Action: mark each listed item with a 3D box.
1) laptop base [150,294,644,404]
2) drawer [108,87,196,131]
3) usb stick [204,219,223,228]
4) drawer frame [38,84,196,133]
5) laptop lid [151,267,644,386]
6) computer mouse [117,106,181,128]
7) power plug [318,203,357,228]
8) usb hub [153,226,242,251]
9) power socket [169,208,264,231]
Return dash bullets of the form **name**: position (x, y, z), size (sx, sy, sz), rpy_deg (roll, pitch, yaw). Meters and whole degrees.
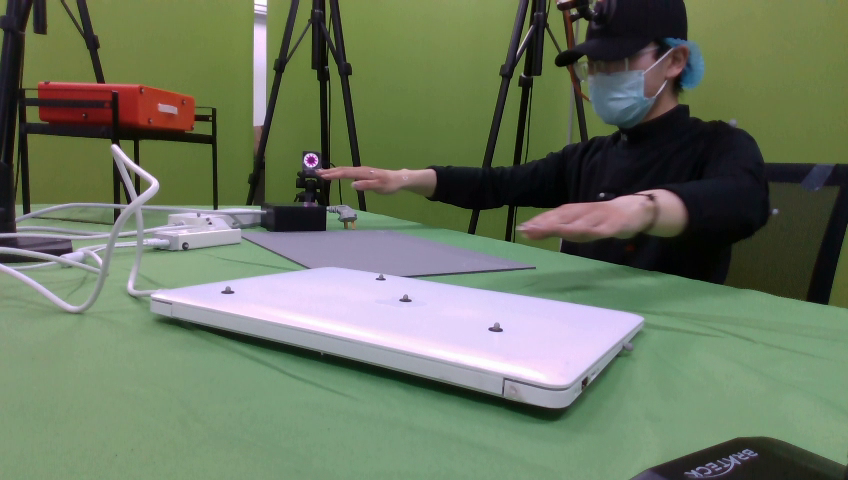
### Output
- **laptop base**: position (-0.019, 0.066, 0.506), size (0.353, 0.023, 0.236), rpy_deg (6, 5, 30)
- **drawer**: position (-0.609, -0.264, 1.229), size (0.211, 0.073, 0.194), rpy_deg (3, 8, 9)
- **usb stick**: position (-0.346, -0.018, 1.011), size (0.021, 0.027, 0.059), rpy_deg (-43, -1, -8)
- **drawer frame**: position (-0.612, -0.265, 1.229), size (0.213, 0.082, 0.202), rpy_deg (3, 8, 7)
- **laptop lid**: position (-0.018, 0.054, 0.507), size (0.355, 0.013, 0.243), rpy_deg (7, 6, 31)
- **computer mouse**: position (-0.565, -0.252, 1.242), size (0.062, 0.041, 0.118), rpy_deg (18, 26, 42)
- **power plug**: position (-0.169, -0.045, 1.207), size (0.072, 0.052, 0.035), rpy_deg (-10, -13, -2)
- **usb hub**: position (-0.337, -0.003, 0.907), size (0.049, 0.025, 0.125), rpy_deg (6, 9, 28)
- **power socket**: position (-0.381, -0.038, 1.128), size (0.072, 0.032, 0.227), rpy_deg (4, 8, 16)
